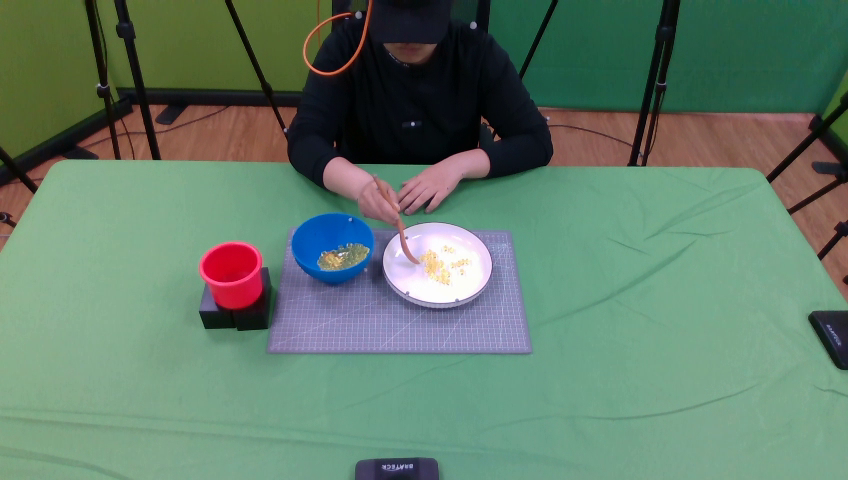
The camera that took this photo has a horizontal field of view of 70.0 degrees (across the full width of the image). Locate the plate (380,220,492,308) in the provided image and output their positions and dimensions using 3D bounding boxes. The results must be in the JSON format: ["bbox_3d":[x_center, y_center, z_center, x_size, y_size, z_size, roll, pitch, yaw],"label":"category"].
[{"bbox_3d":[0.022,0.048,1.137,0.208,0.039,0.206,2,46,-2],"label":"plate"}]

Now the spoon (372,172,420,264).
[{"bbox_3d":[-0.051,-0.038,1.106,0.021,0.194,0.041,-23,19,-5],"label":"spoon"}]

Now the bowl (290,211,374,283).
[{"bbox_3d":[-0.167,0.027,1.117,0.151,0.077,0.150,2,46,-2],"label":"bowl"}]
